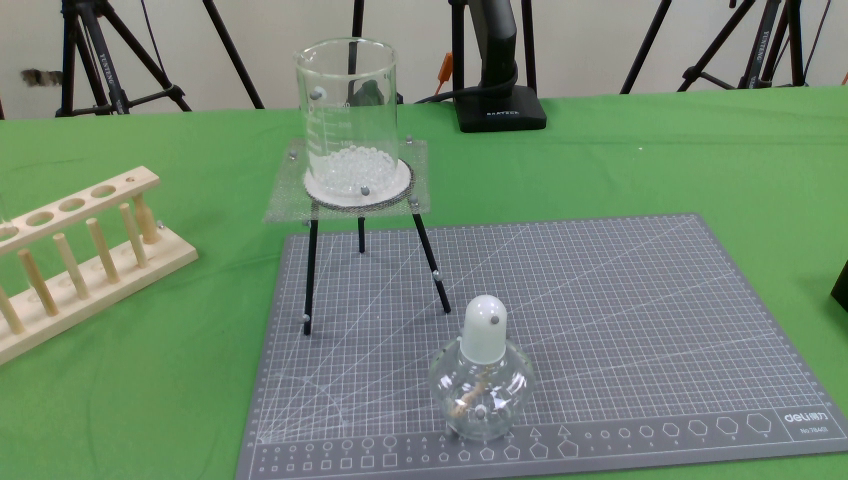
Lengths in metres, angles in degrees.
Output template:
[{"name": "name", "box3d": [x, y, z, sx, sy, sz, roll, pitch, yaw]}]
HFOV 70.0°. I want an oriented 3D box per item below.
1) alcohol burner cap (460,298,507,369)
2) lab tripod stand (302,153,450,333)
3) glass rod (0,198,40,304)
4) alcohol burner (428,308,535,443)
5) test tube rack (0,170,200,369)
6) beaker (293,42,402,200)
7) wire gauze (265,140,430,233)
[{"name": "alcohol burner cap", "box3d": [0.042, 0.060, 0.407, 0.034, 0.048, 0.033, 1, 39, -1]}, {"name": "lab tripod stand", "box3d": [-0.047, 0.002, 0.528, 0.148, 0.132, 0.147, 1, 36, 0]}, {"name": "glass rod", "box3d": [-0.359, -0.028, 0.510, 0.008, 0.201, 0.008, 0, 30, 0]}, {"name": "alcohol burner", "box3d": [0.041, 0.088, 0.429, 0.078, 0.120, 0.077, 0, 40, 0]}, {"name": "test tube rack", "box3d": [-0.335, 0.031, 0.542, 0.066, 0.086, 0.242, 28, 46, 33]}, {"name": "beaker", "box3d": [-0.058, -0.088, 0.457, 0.083, 0.101, 0.074, 22, 42, 25]}, {"name": "wire gauze", "box3d": [-0.057, -0.048, 0.485, 0.121, 0.011, 0.124, -1, 39, -1]}]
